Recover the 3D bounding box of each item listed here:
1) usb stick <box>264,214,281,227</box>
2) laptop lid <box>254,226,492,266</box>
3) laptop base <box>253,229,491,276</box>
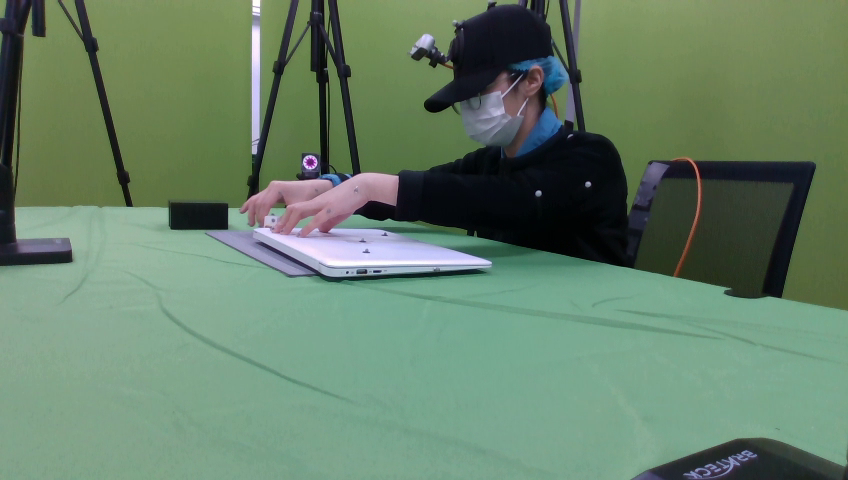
[{"bbox_3d":[-0.266,-0.031,1.055,0.021,0.027,0.059,5,10,-2],"label":"usb stick"},{"bbox_3d":[-0.092,0.004,0.888,0.243,0.013,0.355,1,7,-28],"label":"laptop lid"},{"bbox_3d":[-0.095,0.015,0.889,0.237,0.023,0.352,1,7,-30],"label":"laptop base"}]
